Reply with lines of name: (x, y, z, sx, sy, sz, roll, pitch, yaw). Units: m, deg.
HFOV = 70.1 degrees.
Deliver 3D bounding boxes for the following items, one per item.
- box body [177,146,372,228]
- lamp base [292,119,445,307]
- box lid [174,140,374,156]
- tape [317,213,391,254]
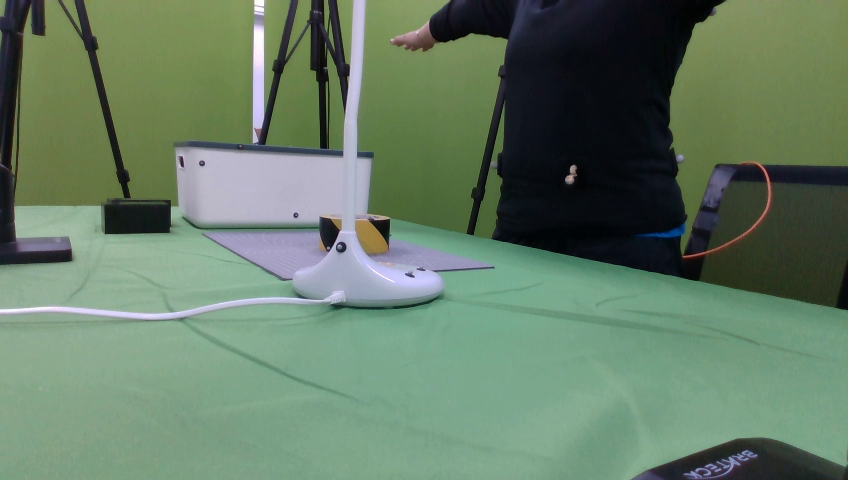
box body: (-0.319, -0.118, 1.280, 0.366, 0.160, 0.253, -1, 8, -29)
lamp base: (-0.056, -0.030, 0.616, 0.160, 0.180, 0.179, 3, 10, 8)
box lid: (-0.318, -0.190, 1.270, 0.373, 0.015, 0.262, -1, 8, -29)
tape: (-0.109, -0.012, 0.938, 0.117, 0.052, 0.117, 2, 7, 0)
